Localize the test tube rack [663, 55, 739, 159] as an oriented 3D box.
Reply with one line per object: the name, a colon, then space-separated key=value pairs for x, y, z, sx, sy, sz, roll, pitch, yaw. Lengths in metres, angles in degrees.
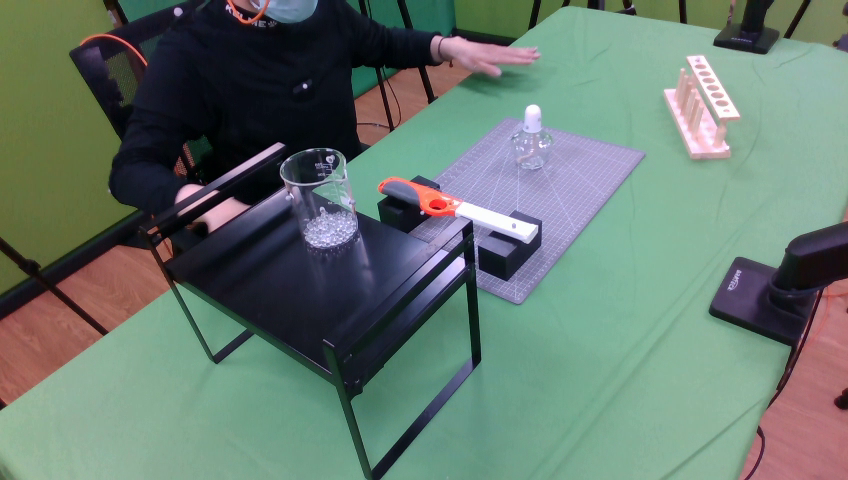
test tube rack: x=0.518 y=-0.256 z=1.144 sx=0.066 sy=0.085 sz=0.241 roll=-1 pitch=41 yaw=8

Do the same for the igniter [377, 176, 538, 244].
igniter: x=0.046 y=-0.052 z=0.942 sx=0.274 sy=0.025 sz=0.057 roll=21 pitch=47 yaw=27

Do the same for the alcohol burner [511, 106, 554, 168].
alcohol burner: x=0.196 y=-0.190 z=1.088 sx=0.078 sy=0.119 sz=0.077 roll=-3 pitch=42 yaw=3

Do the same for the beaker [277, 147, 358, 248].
beaker: x=-0.117 y=-0.046 z=0.705 sx=0.083 sy=0.101 sz=0.074 roll=17 pitch=47 yaw=25

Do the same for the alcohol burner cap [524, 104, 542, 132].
alcohol burner cap: x=0.193 y=-0.216 z=1.065 sx=0.034 sy=0.048 sz=0.033 roll=-4 pitch=36 yaw=3
